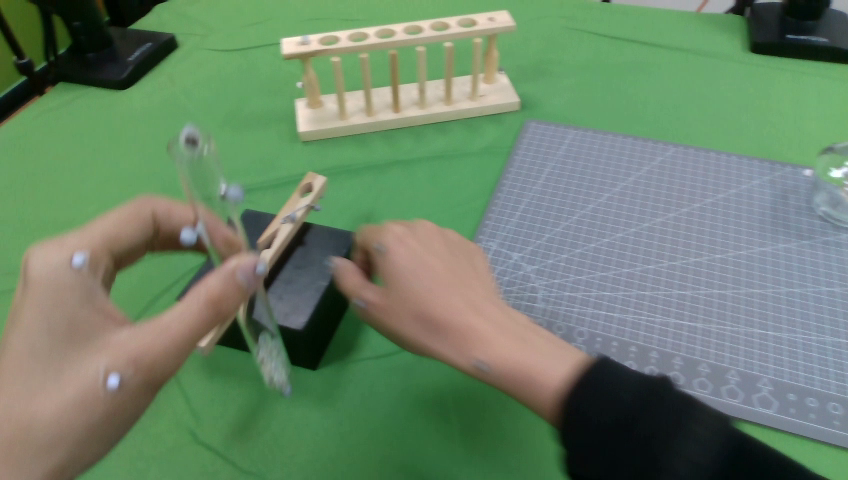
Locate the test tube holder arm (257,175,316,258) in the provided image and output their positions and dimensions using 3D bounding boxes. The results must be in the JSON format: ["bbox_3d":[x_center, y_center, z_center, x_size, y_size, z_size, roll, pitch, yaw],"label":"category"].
[{"bbox_3d":[-0.108,-0.019,0.484,0.010,0.015,0.087,17,50,8],"label":"test tube holder arm"}]

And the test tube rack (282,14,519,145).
[{"bbox_3d":[-0.022,-0.173,0.652,0.243,0.086,0.066,-10,46,-6],"label":"test tube rack"}]

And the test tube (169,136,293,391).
[{"bbox_3d":[-0.079,0.021,0.264,0.017,0.151,0.017,-2,44,2],"label":"test tube"}]

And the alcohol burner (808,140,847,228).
[{"bbox_3d":[0.373,-0.068,0.503,0.078,0.120,0.077,-1,44,1],"label":"alcohol burner"}]

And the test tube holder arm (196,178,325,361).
[{"bbox_3d":[-0.117,0.014,0.454,0.013,0.015,0.177,17,50,8],"label":"test tube holder arm"}]
